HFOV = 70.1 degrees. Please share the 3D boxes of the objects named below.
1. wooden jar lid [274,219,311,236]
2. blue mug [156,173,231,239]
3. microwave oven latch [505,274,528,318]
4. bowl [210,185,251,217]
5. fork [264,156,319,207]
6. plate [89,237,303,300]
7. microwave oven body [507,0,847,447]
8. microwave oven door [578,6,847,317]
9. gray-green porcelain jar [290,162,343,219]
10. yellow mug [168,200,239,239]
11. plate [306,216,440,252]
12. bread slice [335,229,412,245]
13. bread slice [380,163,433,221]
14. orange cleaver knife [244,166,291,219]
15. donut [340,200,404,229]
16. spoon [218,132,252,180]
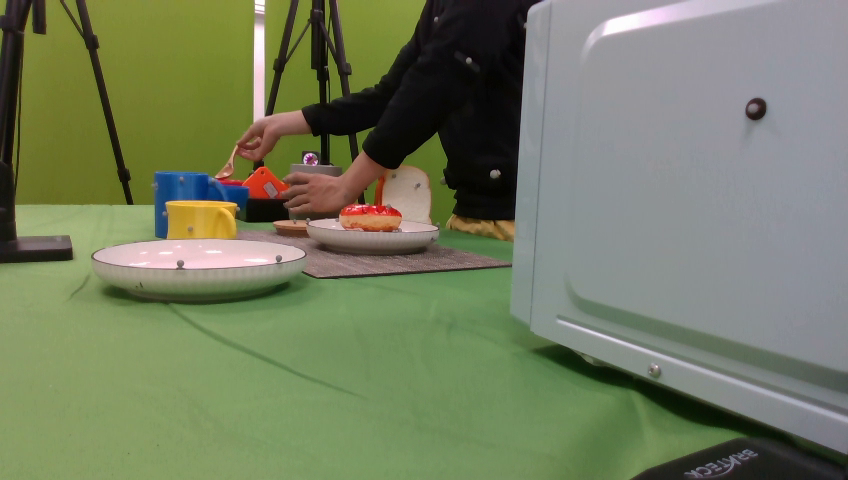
[{"bbox_3d":[-0.213,-0.023,1.081,0.108,0.020,0.108,3,8,0],"label":"wooden jar lid"},{"bbox_3d":[-0.381,-0.057,1.004,0.117,0.106,0.082,0,8,-12],"label":"blue mug"},{"bbox_3d":[0.100,0.041,0.472,0.079,0.029,0.030,-2,8,-29],"label":"microwave oven latch"},{"bbox_3d":[-0.408,-0.064,1.155,0.151,0.077,0.151,2,8,0],"label":"bowl"},{"bbox_3d":[-0.331,-0.144,1.506,0.207,0.018,0.028,-42,-18,22],"label":"fork"},{"bbox_3d":[-0.233,0.029,0.637,0.208,0.039,0.207,2,7,0],"label":"plate"},{"bbox_3d":[0.331,-0.042,0.425,0.444,0.260,0.324,-2,8,-31],"label":"microwave oven body"},{"bbox_3d":[0.294,-0.067,0.570,0.358,0.243,0.039,-3,9,-31],"label":"microwave oven door"},{"bbox_3d":[-0.217,-0.092,1.221,0.106,0.126,0.106,2,7,0],"label":"gray-green porcelain jar"},{"bbox_3d":[-0.320,-0.023,0.904,0.130,0.064,0.100,9,11,36],"label":"yellow mug"},{"bbox_3d":[-0.079,-0.011,0.950,0.209,0.038,0.209,2,8,0],"label":"plate"},{"bbox_3d":[-0.074,-0.005,0.938,0.105,0.019,0.131,-1,4,-19],"label":"bread slice"},{"bbox_3d":[-0.035,-0.076,1.126,0.107,0.134,0.018,-4,2,-24],"label":"bread slice"},{"bbox_3d":[-0.300,-0.089,1.351,0.212,0.077,0.012,32,-12,-34],"label":"orange cleaver knife"},{"bbox_3d":[-0.081,-0.038,0.945,0.099,0.048,0.099,1,5,0],"label":"donut"},{"bbox_3d":[-0.461,-0.210,1.491,0.041,0.022,0.193,-7,47,19],"label":"spoon"}]
